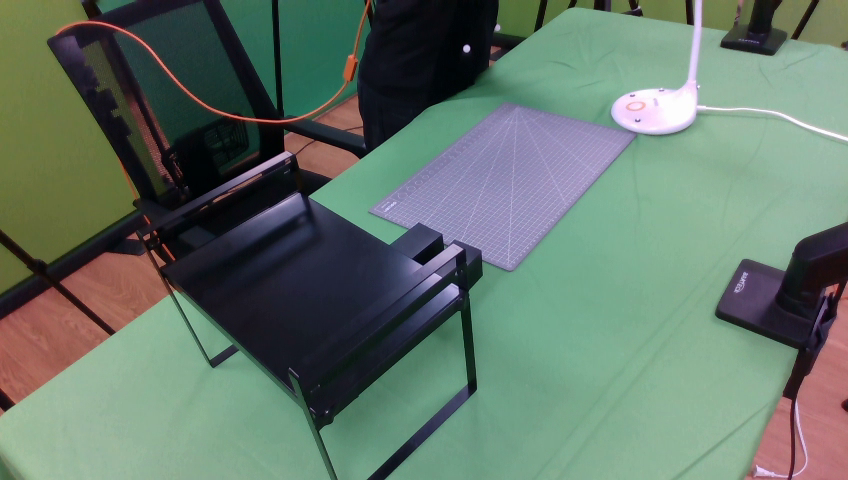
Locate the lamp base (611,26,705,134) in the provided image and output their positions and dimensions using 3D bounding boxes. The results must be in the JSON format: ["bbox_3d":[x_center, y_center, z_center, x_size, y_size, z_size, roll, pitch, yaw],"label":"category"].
[{"bbox_3d":[0.459,-0.316,1.154,0.179,0.181,0.159,-6,40,-1],"label":"lamp base"}]
